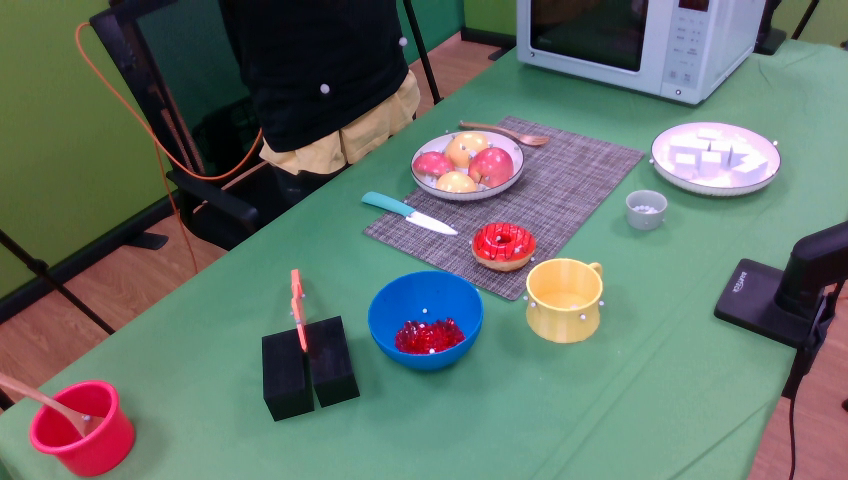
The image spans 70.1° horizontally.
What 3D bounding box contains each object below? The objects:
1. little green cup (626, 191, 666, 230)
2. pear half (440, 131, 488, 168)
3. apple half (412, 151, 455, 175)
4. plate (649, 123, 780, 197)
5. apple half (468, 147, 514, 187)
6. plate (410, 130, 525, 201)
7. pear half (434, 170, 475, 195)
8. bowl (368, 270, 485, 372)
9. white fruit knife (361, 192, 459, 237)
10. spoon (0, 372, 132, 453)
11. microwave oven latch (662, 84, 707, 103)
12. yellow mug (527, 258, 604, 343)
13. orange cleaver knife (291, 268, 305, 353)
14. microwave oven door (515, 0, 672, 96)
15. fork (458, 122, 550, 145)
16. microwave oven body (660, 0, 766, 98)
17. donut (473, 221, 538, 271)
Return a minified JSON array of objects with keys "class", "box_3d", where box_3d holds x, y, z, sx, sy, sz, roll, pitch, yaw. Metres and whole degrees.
[{"class":"little green cup","box_3d":[0.352,-0.046,0.963,0.061,0.039,0.061,-4,40,4]},{"class":"pear half","box_3d":[0.064,-0.174,1.129,0.110,0.056,0.076,-7,36,5]},{"class":"apple half","box_3d":[0.022,-0.144,1.097,0.081,0.033,0.081,7,22,-2]},{"class":"plate","box_3d":[0.497,-0.135,1.046,0.207,0.039,0.206,-4,40,4]},{"class":"apple half","box_3d":[0.119,-0.137,1.073,0.080,0.053,0.075,25,49,38]},{"class":"plate","box_3d":[0.079,-0.133,1.101,0.209,0.038,0.208,-4,40,4]},{"class":"pear half","box_3d":[0.052,-0.105,1.051,0.071,0.031,0.087,-5,32,-28]},{"class":"bowl","box_3d":[0.007,0.118,0.791,0.151,0.077,0.150,-5,40,4]},{"class":"white fruit knife","box_3d":[-0.025,-0.045,1.033,0.206,0.016,0.027,24,80,30]},{"class":"spoon","box_3d":[-0.439,0.195,0.715,0.195,0.021,0.041,37,43,-16]},{"class":"microwave oven latch","box_3d":[0.517,-0.296,1.204,0.078,0.029,0.030,27,52,35]},{"class":"yellow mug","box_3d":[0.202,0.073,0.825,0.131,0.064,0.099,-32,46,-27]},{"class":"orange cleaver knife","box_3d":[-0.175,0.093,0.844,0.012,0.077,0.210,-11,15,-10]},{"class":"microwave oven door","box_3d":[0.343,-0.454,1.259,0.353,0.245,0.039,26,51,33]},{"class":"fork","box_3d":[0.154,-0.215,1.204,0.206,0.019,0.028,20,57,29]},{"class":"microwave oven body","box_3d":[0.472,-0.513,1.317,0.438,0.261,0.327,26,51,34]},{"class":"donut","box_3d":[0.123,0.008,0.923,0.099,0.048,0.098,-3,38,3]}]
